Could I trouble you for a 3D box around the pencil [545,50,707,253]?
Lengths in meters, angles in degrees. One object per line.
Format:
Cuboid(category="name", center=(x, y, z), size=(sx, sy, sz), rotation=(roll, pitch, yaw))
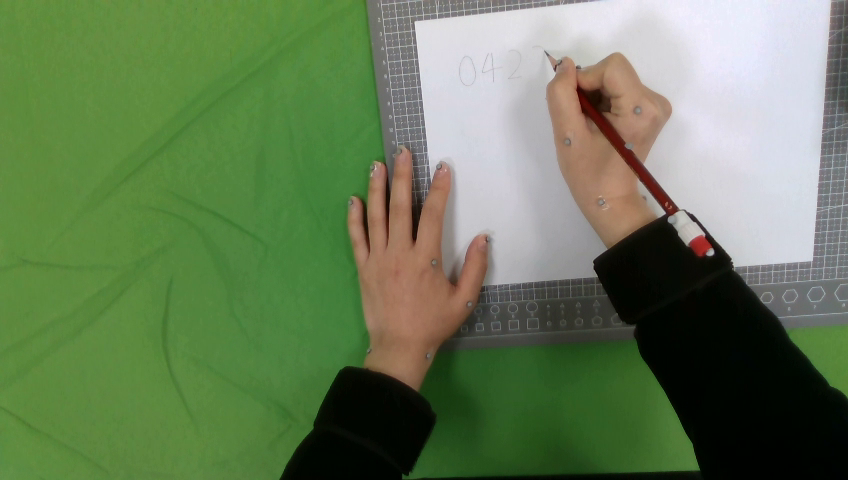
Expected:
Cuboid(category="pencil", center=(0.124, -0.068, 0.399), size=(0.012, 0.192, 0.012), rotation=(-18, 147, -12))
